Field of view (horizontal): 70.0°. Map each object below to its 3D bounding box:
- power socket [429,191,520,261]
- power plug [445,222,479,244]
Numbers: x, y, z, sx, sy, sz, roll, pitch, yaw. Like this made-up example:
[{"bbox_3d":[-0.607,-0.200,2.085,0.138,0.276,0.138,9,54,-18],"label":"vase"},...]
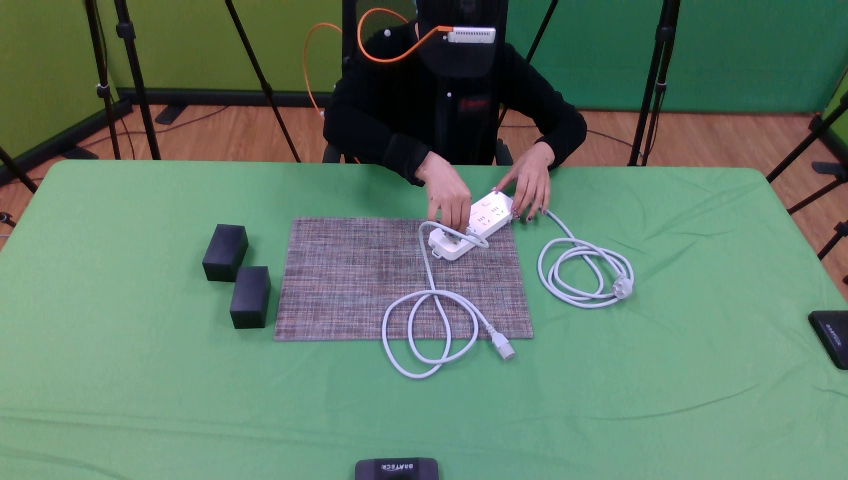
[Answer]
[{"bbox_3d":[0.104,-0.032,1.222,0.227,0.033,0.072,-33,57,-30],"label":"power socket"},{"bbox_3d":[0.069,-0.004,1.148,0.035,0.053,0.072,-26,46,-21],"label":"power plug"}]
